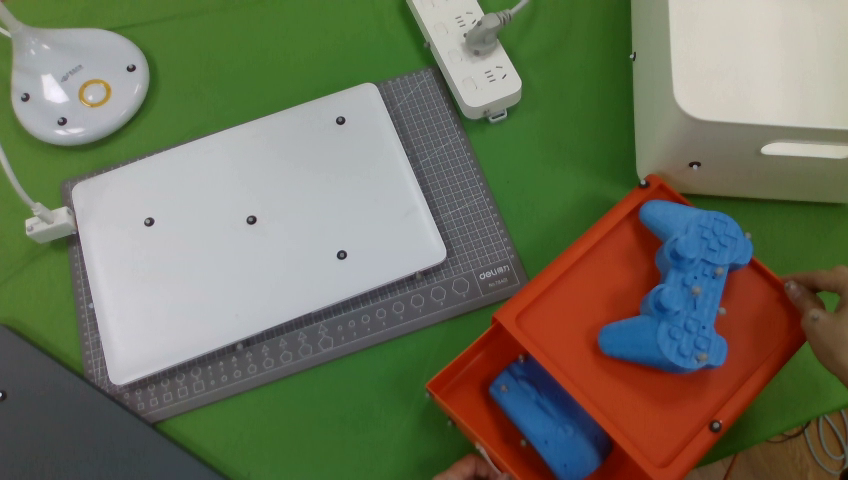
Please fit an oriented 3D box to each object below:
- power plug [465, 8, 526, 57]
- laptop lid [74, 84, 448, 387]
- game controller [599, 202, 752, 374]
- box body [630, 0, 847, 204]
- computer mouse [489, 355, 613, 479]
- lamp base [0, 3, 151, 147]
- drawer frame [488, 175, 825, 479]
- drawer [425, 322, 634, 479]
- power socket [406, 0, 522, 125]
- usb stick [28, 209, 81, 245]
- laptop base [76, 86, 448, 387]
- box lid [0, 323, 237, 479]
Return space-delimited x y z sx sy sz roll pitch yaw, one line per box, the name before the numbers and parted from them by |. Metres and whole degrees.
power plug | 0.082 -0.227 0.687 0.072 0.053 0.035 -11 67 -3
laptop lid | -0.177 -0.017 0.637 0.357 0.013 0.240 -19 71 -5
game controller | 0.219 0.040 0.518 0.097 0.052 0.154 22 72 8
box body | 0.355 -0.227 0.627 0.254 0.161 0.361 4 69 4
computer mouse | 0.113 0.160 0.548 0.063 0.041 0.116 -35 67 -7
lamp base | -0.421 -0.216 0.654 0.178 0.181 0.160 28 72 16
drawer frame | 0.203 0.082 0.557 0.213 0.083 0.200 -40 71 -12
drawer | 0.141 0.138 0.542 0.211 0.074 0.193 -41 71 -13
power socket | 0.044 -0.235 0.717 0.072 0.033 0.225 -21 69 -7
usb stick | -0.386 -0.016 0.646 0.059 0.027 0.021 -16 63 -7
laptop base | -0.177 -0.015 0.649 0.354 0.023 0.234 -21 73 -5
box lid | -0.361 0.263 0.554 0.370 0.015 0.262 28 73 13
